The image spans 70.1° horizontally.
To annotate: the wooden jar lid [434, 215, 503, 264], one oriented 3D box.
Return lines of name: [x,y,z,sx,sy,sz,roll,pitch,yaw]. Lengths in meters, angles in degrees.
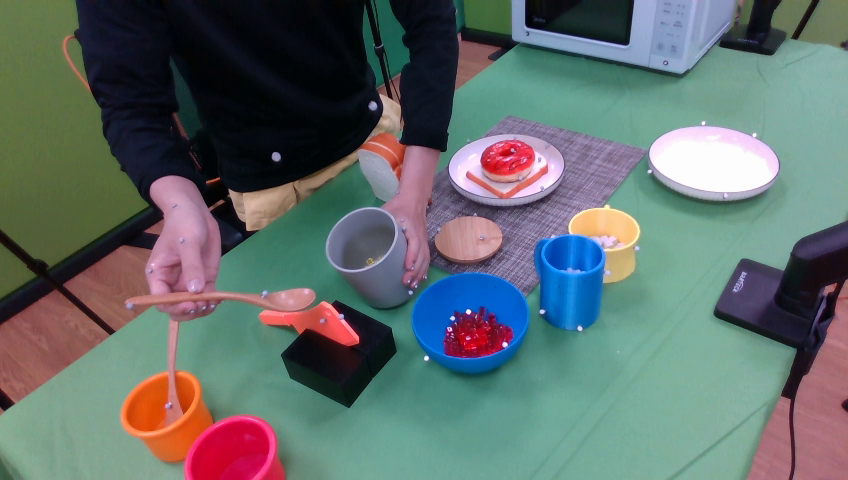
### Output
wooden jar lid: [0.070,0.001,0.956,0.108,0.021,0.108,-4,40,4]

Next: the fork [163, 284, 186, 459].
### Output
fork: [-0.303,0.157,0.733,0.028,0.019,0.207,-3,84,13]

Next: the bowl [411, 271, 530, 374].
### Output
bowl: [0.062,0.120,0.780,0.151,0.077,0.150,-4,40,4]

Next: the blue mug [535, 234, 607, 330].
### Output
blue mug: [0.190,0.048,0.824,0.082,0.106,0.115,-26,44,-20]

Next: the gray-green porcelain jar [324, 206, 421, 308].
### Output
gray-green porcelain jar: [-0.066,0.029,0.853,0.105,0.127,0.105,-9,55,14]

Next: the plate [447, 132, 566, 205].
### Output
plate: [0.146,-0.124,1.076,0.209,0.038,0.208,-3,41,3]

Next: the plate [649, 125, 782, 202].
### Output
plate: [0.493,-0.127,1.036,0.207,0.039,0.206,-4,41,4]

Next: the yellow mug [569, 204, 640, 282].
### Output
yellow mug: [0.268,-0.005,0.904,0.099,0.064,0.130,7,41,15]

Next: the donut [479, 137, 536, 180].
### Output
donut: [0.145,-0.144,1.056,0.099,0.048,0.098,-6,42,6]

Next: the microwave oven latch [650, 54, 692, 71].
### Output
microwave oven latch: [0.531,-0.386,1.301,0.078,0.029,0.030,25,51,33]

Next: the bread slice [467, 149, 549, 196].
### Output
bread slice: [0.156,-0.128,1.085,0.132,0.019,0.104,-34,48,-23]

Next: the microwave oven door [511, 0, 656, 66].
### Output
microwave oven door: [0.351,-0.539,1.348,0.353,0.245,0.039,24,50,31]

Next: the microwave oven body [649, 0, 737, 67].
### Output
microwave oven body: [0.475,-0.602,1.411,0.438,0.261,0.327,23,50,32]

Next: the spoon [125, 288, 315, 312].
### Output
spoon: [-0.211,0.062,0.646,0.195,0.021,0.041,6,28,-32]

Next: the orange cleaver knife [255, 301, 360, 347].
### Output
orange cleaver knife: [-0.161,0.115,0.813,0.210,0.077,0.012,-9,31,47]

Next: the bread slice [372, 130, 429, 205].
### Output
bread slice: [-0.044,-0.126,1.038,0.106,0.135,0.018,30,61,34]
